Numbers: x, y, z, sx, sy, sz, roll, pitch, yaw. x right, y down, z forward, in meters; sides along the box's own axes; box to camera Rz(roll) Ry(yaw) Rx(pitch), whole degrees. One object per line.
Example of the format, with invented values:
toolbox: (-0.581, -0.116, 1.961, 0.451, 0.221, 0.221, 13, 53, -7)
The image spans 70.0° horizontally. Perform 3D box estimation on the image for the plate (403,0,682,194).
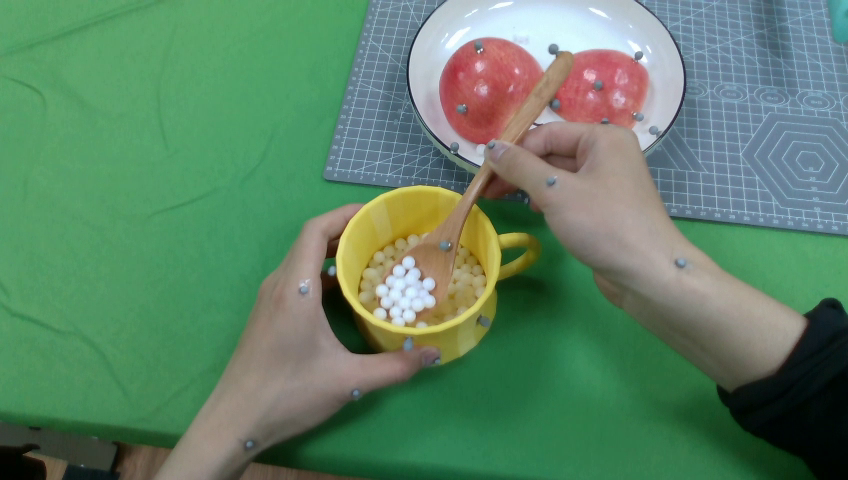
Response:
plate: (0.088, -0.120, 0.471, 0.209, 0.038, 0.207, -1, 63, 2)

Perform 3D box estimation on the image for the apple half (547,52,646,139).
apple half: (0.132, -0.119, 0.460, 0.081, 0.033, 0.080, -1, 66, 2)

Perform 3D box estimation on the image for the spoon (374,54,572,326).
spoon: (0.033, -0.030, 0.366, 0.041, 0.022, 0.194, 36, 96, 23)

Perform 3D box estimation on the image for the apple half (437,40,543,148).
apple half: (0.050, -0.117, 0.452, 0.081, 0.054, 0.074, -33, 63, -13)

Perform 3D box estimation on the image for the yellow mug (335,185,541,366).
yellow mug: (0.013, 0.020, 0.389, 0.131, 0.064, 0.099, -13, 63, -6)

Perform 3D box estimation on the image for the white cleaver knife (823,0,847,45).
white cleaver knife: (0.332, -0.266, 0.519, 0.021, 0.066, 0.284, 5, 59, 11)
